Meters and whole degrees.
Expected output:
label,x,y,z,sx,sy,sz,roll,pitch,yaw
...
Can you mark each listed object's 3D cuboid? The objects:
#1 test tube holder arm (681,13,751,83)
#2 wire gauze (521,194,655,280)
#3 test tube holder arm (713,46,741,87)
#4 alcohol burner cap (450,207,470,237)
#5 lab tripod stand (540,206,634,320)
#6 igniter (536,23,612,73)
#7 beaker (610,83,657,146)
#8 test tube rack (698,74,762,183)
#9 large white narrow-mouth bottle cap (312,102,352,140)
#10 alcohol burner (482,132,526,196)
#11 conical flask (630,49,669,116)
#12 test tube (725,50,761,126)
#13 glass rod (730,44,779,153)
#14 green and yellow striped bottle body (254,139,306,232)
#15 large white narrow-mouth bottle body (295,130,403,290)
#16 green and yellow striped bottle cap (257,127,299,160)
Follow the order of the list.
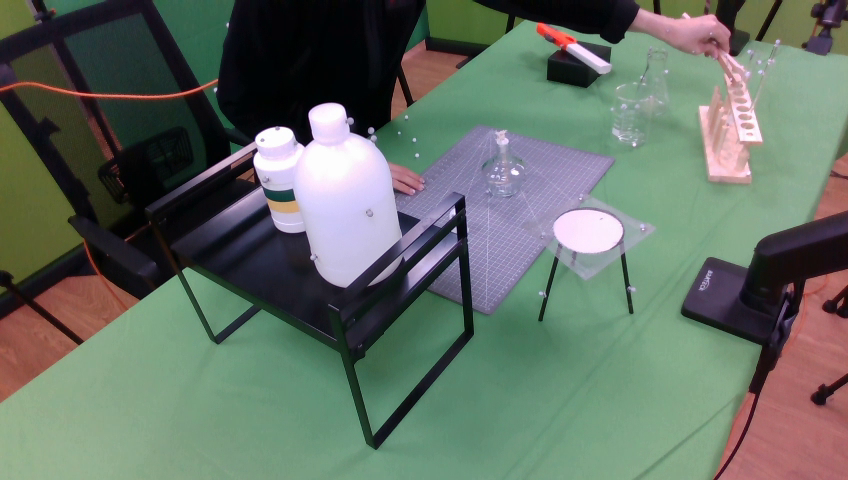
label,x,y,z,sx,sy,sz,roll,pitch,yaw
test tube holder arm,0.537,-0.356,1.117,0.013,0.015,0.177,-27,68,-12
wire gauze,0.207,-0.012,0.772,0.122,0.011,0.124,-28,44,-20
test tube holder arm,0.550,-0.317,1.100,0.010,0.015,0.087,-12,66,-5
alcohol burner cap,0.057,-0.032,0.987,0.034,0.048,0.033,-5,41,5
lab tripod stand,0.218,0.034,0.821,0.148,0.132,0.147,-4,42,4
igniter,0.330,-0.439,1.366,0.057,0.025,0.274,-11,40,-20
beaker,0.388,-0.235,1.138,0.074,0.101,0.083,-31,45,-26
test tube rack,0.547,-0.208,1.095,0.066,0.085,0.242,5,42,15
large white narrow-mouth bottle cap,-0.088,-0.114,0.580,0.038,0.024,0.037,-3,39,3
alcohol burner,0.137,-0.136,1.042,0.078,0.119,0.077,-4,43,4
conical flask,0.457,-0.316,1.205,0.075,0.122,0.075,-4,41,4
test tube,0.570,-0.269,1.085,0.017,0.151,0.017,-1,46,1
glass rod,0.555,-0.233,1.020,0.008,0.200,0.008,2,39,-1
green and yellow striped bottle body,-0.165,-0.073,0.732,0.063,0.120,0.063,-4,41,4
large white narrow-mouth bottle body,-0.081,-0.046,0.634,0.102,0.195,0.101,-4,39,3
green and yellow striped bottle cap,-0.169,-0.112,0.698,0.045,0.020,0.045,-7,40,6
